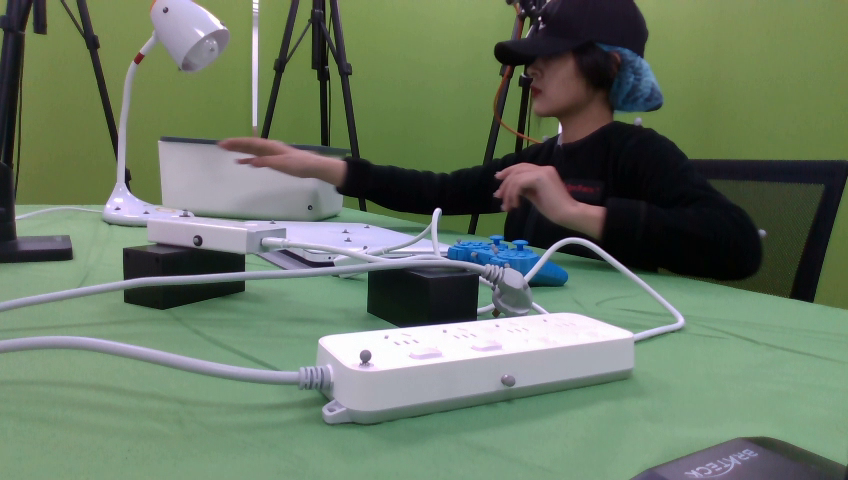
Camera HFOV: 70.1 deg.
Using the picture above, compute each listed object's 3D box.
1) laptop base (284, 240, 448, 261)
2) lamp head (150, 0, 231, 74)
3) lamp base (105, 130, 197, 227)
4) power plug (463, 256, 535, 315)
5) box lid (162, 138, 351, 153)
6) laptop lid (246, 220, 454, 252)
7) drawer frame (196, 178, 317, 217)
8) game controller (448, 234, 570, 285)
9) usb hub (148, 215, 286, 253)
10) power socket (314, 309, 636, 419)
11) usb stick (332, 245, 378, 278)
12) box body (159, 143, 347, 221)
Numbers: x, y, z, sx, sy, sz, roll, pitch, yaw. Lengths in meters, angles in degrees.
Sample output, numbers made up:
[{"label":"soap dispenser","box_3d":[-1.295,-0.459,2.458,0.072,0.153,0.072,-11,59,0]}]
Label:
[{"label":"laptop base","box_3d":[-0.125,0.002,0.945,0.237,0.023,0.352,2,6,-31]},{"label":"lamp head","box_3d":[-0.432,-0.375,1.086,0.123,0.112,0.112,42,8,-3]},{"label":"lamp base","box_3d":[-0.532,-0.120,1.153,0.179,0.180,0.161,1,7,8]},{"label":"power plug","box_3d":[0.064,0.039,0.530,0.072,0.052,0.035,31,43,7]},{"label":"box lid","box_3d":[-0.371,-0.215,1.394,0.371,0.015,0.263,4,8,7]},{"label":"laptop lid","box_3d":[-0.123,-0.009,0.945,0.243,0.013,0.355,1,7,-29]},{"label":"drawer frame","box_3d":[-0.376,-0.101,1.393,0.213,0.082,0.202,1,8,6]},{"label":"game controller","box_3d":[0.099,0.021,0.756,0.097,0.051,0.154,-7,10,-29]},{"label":"usb hub","box_3d":[-0.197,-0.006,0.575,0.125,0.025,0.050,6,6,22]},{"label":"power socket","box_3d":[0.039,0.072,0.385,0.228,0.032,0.072,-2,7,-28]},{"label":"usb stick","box_3d":[-0.085,0.026,0.702,0.059,0.027,0.021,-19,17,26]},{"label":"box body","box_3d":[-0.384,-0.137,1.406,0.364,0.160,0.254,3,8,7]}]
